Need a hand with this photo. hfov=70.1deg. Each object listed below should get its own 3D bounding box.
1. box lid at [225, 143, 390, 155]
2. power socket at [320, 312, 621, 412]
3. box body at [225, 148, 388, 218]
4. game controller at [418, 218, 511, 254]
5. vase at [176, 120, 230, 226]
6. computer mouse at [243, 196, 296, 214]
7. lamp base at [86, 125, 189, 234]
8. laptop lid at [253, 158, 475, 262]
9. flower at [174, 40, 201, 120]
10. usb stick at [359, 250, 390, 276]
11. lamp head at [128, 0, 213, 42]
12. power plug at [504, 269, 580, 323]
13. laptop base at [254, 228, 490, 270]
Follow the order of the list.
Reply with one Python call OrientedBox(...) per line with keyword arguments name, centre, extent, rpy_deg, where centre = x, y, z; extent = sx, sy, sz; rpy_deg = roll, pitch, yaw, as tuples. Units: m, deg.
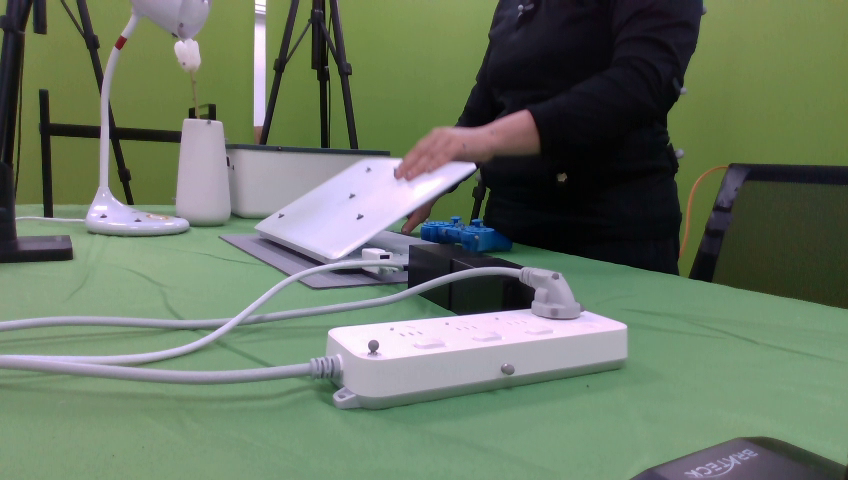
OrientedBox(name="box lid", centre=(-0.296, -0.217, 1.463), extent=(0.373, 0.015, 0.262), rpy_deg=(-2, 8, -29))
OrientedBox(name="power socket", centre=(0.038, 0.075, 0.410), extent=(0.228, 0.032, 0.072), rpy_deg=(-2, 8, -29))
OrientedBox(name="box body", centre=(-0.298, -0.143, 1.474), extent=(0.366, 0.160, 0.253), rpy_deg=(-1, 9, -29))
OrientedBox(name="game controller", centre=(0.062, -0.009, 1.028), extent=(0.154, 0.051, 0.097), rpy_deg=(9, 14, 43))
OrientedBox(name="vase", centre=(-0.425, -0.128, 1.159), extent=(0.098, 0.200, 0.098), rpy_deg=(2, 9, 0))
OrientedBox(name="computer mouse", centre=(-0.362, -0.082, 1.416), extent=(0.117, 0.041, 0.063), rpy_deg=(-3, 10, 5))
OrientedBox(name="lamp base", centre=(-0.497, -0.105, 1.027), extent=(0.179, 0.180, 0.160), rpy_deg=(1, 7, 3))
OrientedBox(name="laptop lid", centre=(-0.107, -0.060, 0.893), extent=(0.242, 0.013, 0.355), rpy_deg=(-35, 24, -21))
OrientedBox(name="flower", centre=(-0.430, -0.211, 1.165), extent=(0.044, 0.361, 0.038), rpy_deg=(-10, -5, -24))
OrientedBox(name="usb stick", centre=(-0.062, 0.026, 0.708), extent=(0.021, 0.027, 0.059), rpy_deg=(-3, 3, -29))
OrientedBox(name="lamp head", centre=(-0.423, -0.394, 0.980), extent=(0.123, 0.112, 0.112), rpy_deg=(20, 7, -3))
OrientedBox(name="power plug", centre=(0.092, 0.051, 0.470), extent=(0.035, 0.052, 0.072), rpy_deg=(0, 6, -16))
OrientedBox(name="laptop base", centre=(-0.096, 0.011, 0.912), extent=(0.237, 0.023, 0.352), rpy_deg=(2, 6, -32))
